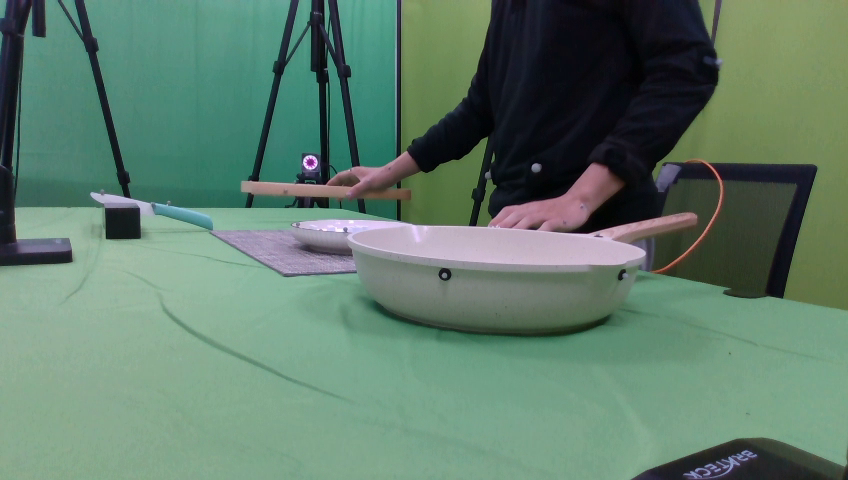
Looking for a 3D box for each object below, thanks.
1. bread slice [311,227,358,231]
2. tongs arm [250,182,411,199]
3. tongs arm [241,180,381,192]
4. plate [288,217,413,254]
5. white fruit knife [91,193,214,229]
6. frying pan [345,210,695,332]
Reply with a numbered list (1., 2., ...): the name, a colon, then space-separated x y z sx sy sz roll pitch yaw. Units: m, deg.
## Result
1. bread slice: -0.115 -0.005 0.950 0.134 0.018 0.107 3 6 -7
2. tongs arm: -0.190 -0.108 1.334 0.390 0.027 0.028 0 2 -33
3. tongs arm: -0.219 -0.115 1.394 0.387 0.026 0.050 1 4 -24
4. plate: -0.109 -0.007 0.956 0.208 0.039 0.207 2 7 0
5. white fruit knife: -0.478 -0.055 1.077 0.208 0.027 0.016 14 -1 -30
6. frying pan: 0.153 0.009 0.668 0.490 0.102 0.305 -12 15 -32
